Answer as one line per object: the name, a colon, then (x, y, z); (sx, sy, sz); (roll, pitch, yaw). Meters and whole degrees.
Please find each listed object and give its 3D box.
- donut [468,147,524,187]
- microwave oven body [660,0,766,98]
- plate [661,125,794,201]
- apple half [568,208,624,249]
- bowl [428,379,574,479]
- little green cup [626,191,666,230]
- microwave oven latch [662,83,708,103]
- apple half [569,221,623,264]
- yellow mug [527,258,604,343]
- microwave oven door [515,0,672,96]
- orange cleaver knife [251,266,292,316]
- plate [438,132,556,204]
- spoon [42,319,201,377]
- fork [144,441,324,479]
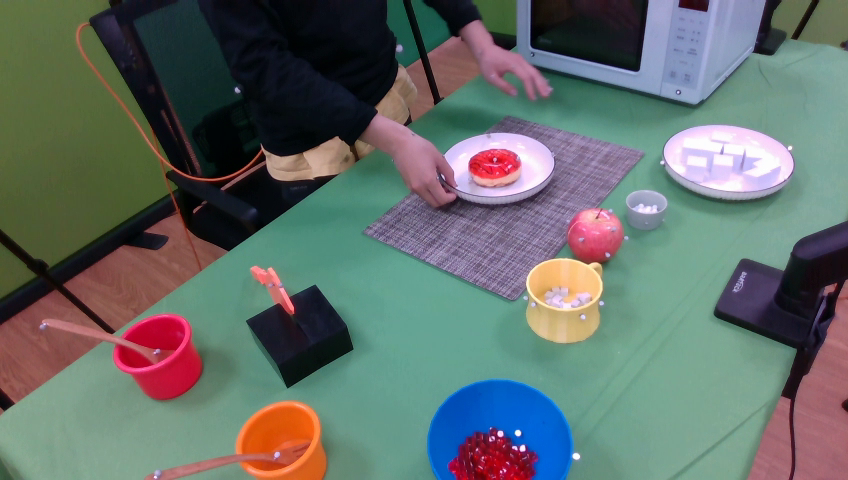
donut: (0.128, -0.132, 1.075); (0.099, 0.048, 0.098); (-5, 38, 5)
microwave oven body: (0.472, -0.513, 1.317); (0.438, 0.261, 0.327); (26, 51, 34)
plate: (0.513, -0.128, 1.035); (0.207, 0.039, 0.206); (-4, 40, 4)
apple half: (0.259, -0.014, 0.914); (0.080, 0.075, 0.053); (0, 36, 15)
bowl: (0.082, 0.233, 0.644); (0.151, 0.077, 0.150); (-4, 39, 4)
little green cup: (0.352, -0.046, 0.963); (0.061, 0.039, 0.061); (-4, 40, 4)
microwave oven latch: (0.517, -0.296, 1.204); (0.078, 0.029, 0.030); (27, 52, 35)
apple half: (0.251, 0.010, 0.884); (0.081, 0.081, 0.032); (3, 37, 12)
yellow mug: (0.201, 0.073, 0.825); (0.131, 0.064, 0.099); (-32, 46, -27)
microwave oven door: (0.343, -0.455, 1.259); (0.353, 0.245, 0.039); (26, 51, 33)
orange cleaver knife: (-0.221, 0.071, 0.873); (0.012, 0.077, 0.210); (-25, 11, -21)
plate: (0.130, -0.125, 1.085); (0.209, 0.038, 0.208); (-4, 40, 4)
spoon: (-0.385, 0.135, 0.779); (0.195, 0.021, 0.041); (29, 37, -26)
fork: (-0.189, 0.231, 0.631); (0.028, 0.018, 0.209); (33, 12, 38)
